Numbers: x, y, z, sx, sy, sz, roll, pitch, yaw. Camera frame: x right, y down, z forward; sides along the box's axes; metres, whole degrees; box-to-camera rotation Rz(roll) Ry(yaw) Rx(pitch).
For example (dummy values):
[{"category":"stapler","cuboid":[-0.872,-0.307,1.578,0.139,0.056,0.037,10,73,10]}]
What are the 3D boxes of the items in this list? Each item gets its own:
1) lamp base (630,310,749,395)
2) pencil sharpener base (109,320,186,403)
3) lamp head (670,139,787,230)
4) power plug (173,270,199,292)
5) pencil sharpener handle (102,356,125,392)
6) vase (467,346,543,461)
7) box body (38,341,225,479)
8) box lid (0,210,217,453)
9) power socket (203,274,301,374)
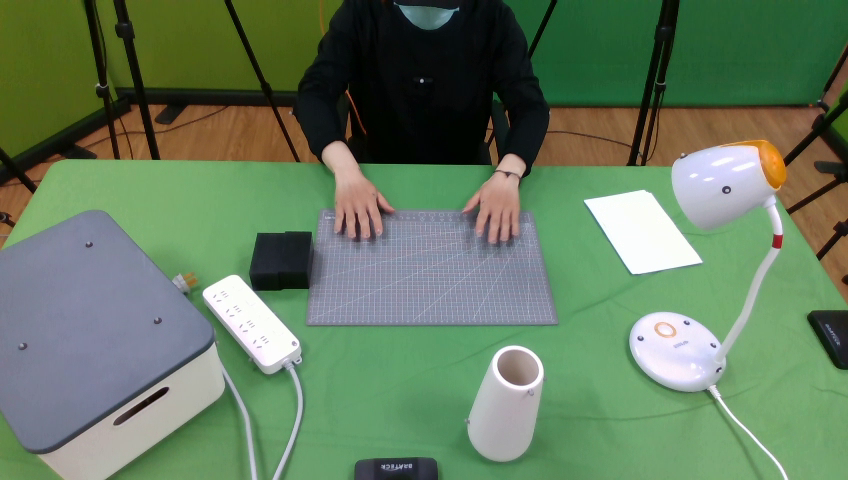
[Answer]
[{"category":"lamp base","cuboid":[0.447,0.142,0.984,0.161,0.181,0.178,-24,55,-24]},{"category":"pencil sharpener base","cuboid":[-0.419,0.187,0.919,0.077,0.107,0.061,-30,54,-27]},{"category":"lamp head","cuboid":[0.415,-0.079,0.812,0.113,0.123,0.112,13,70,-37]},{"category":"power plug","cuboid":[-0.420,0.090,1.084,0.052,0.035,0.072,-31,86,-18]},{"category":"pencil sharpener handle","cuboid":[-0.460,0.200,0.887,0.030,0.068,0.036,-30,61,-27]},{"category":"vase","cuboid":[0.116,0.234,0.861,0.098,0.201,0.097,1,47,-1]},{"category":"box body","cuboid":[-0.504,0.153,0.917,0.362,0.161,0.254,36,54,27]},{"category":"box lid","cuboid":[-0.501,0.102,0.865,0.369,0.015,0.263,36,54,27]},{"category":"power socket","cuboid":[-0.296,0.140,1.035,0.072,0.033,0.225,-32,57,-29]}]
